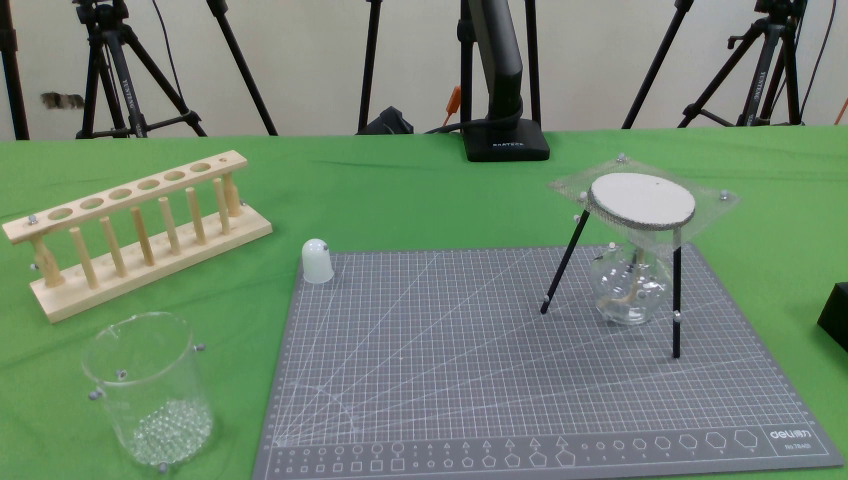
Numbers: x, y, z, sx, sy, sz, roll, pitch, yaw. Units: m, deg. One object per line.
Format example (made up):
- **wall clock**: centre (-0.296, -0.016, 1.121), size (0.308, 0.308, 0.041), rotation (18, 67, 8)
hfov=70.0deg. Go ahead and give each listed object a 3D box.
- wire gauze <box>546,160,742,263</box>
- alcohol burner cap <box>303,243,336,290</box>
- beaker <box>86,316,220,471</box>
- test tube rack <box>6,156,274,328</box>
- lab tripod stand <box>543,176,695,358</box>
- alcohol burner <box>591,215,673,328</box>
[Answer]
- **wire gauze**: centre (0.189, -0.034, 0.523), size (0.122, 0.011, 0.124), rotation (-24, 43, -32)
- **alcohol burner cap**: centre (-0.112, 0.025, 0.639), size (0.034, 0.048, 0.033), rotation (0, 35, 0)
- **beaker**: centre (-0.201, 0.118, 0.459), size (0.083, 0.101, 0.074), rotation (24, 41, 31)
- **test tube rack**: centre (-0.291, -0.006, 0.652), size (0.242, 0.086, 0.066), rotation (-26, 42, -33)
- **lab tripod stand**: centre (0.193, 0.020, 0.563), size (0.148, 0.132, 0.147), rotation (1, 35, -1)
- **alcohol burner**: centre (0.201, 0.025, 0.573), size (0.078, 0.120, 0.077), rotation (0, 37, 0)
